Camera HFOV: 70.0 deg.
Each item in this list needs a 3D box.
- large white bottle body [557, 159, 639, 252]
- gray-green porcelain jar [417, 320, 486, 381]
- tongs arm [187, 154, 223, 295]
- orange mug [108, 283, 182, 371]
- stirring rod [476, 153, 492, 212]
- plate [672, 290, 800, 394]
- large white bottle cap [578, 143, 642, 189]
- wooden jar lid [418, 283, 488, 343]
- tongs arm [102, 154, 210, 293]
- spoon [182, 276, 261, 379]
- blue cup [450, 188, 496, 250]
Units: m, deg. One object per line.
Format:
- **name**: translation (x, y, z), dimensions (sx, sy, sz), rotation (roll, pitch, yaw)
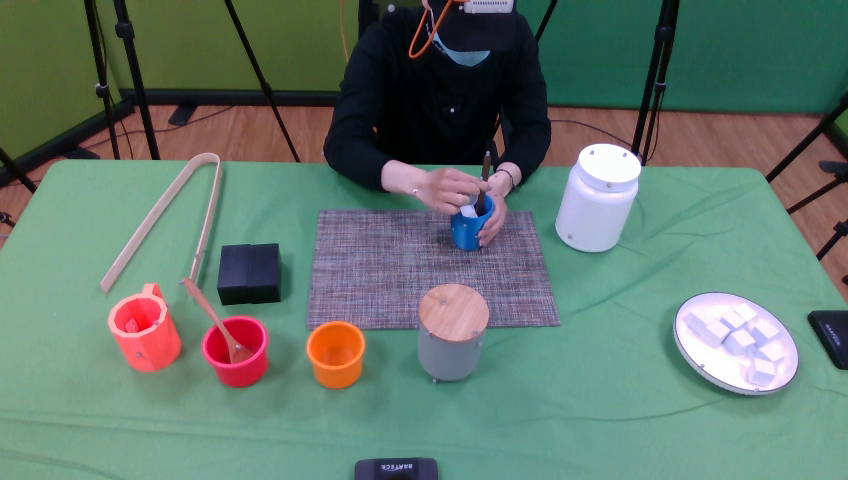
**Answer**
- **large white bottle body**: translation (0.340, -0.081, 1.185), dimensions (0.131, 0.185, 0.130), rotation (2, 46, -1)
- **gray-green porcelain jar**: translation (0.042, 0.158, 0.975), dimensions (0.106, 0.127, 0.105), rotation (2, 46, -2)
- **tongs arm**: translation (-0.442, -0.045, 1.199), dimensions (0.051, 0.027, 0.382), rotation (-3, 46, 1)
- **orange mug**: translation (-0.445, 0.134, 0.982), dimensions (0.083, 0.101, 0.125), rotation (-1, 50, -5)
- **stirring rod**: translation (0.107, -0.083, 1.116), dimensions (0.014, 0.177, 0.006), rotation (-17, 45, -23)
- **plate**: translation (0.533, 0.179, 1.050), dimensions (0.208, 0.039, 0.206), rotation (2, 46, -2)
- **large white bottle cap**: translation (0.344, -0.139, 1.123), dimensions (0.115, 0.018, 0.114), rotation (2, 46, -2)
- **wooden jar lid**: translation (0.044, 0.114, 0.931), dimensions (0.108, 0.021, 0.107), rotation (2, 49, -2)
- **tongs arm**: translation (-0.524, -0.046, 1.203), dimensions (0.028, 0.028, 0.385), rotation (4, 45, 13)
- **spoon**: translation (-0.321, 0.137, 0.957), dimensions (0.041, 0.021, 0.194), rotation (-36, 102, -32)
- **blue cup**: translation (0.089, -0.035, 1.177), dimensions (0.093, 0.101, 0.092), rotation (4, 45, -3)
